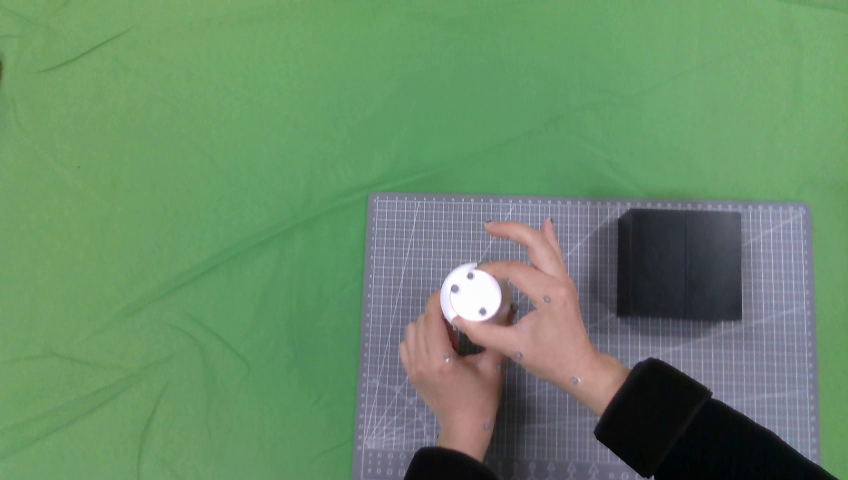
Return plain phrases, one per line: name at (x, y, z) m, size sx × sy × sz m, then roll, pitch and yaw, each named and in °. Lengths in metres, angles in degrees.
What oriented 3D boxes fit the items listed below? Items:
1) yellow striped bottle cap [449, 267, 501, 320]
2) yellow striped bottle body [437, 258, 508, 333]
yellow striped bottle cap at (0.043, 0.045, 0.508) m, size 0.044 × 0.019 × 0.044 m, roll -1°, pitch 82°, yaw 5°
yellow striped bottle body at (0.045, 0.052, 0.558) m, size 0.063 × 0.121 × 0.062 m, roll -1°, pitch 80°, yaw 4°
